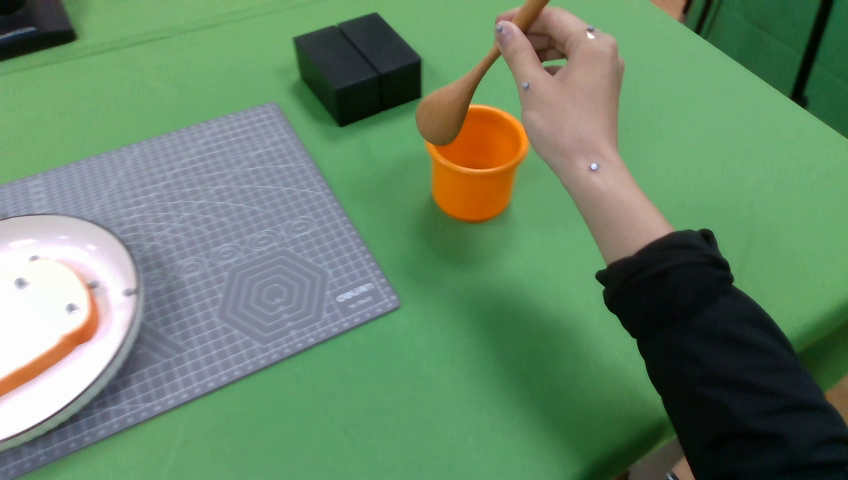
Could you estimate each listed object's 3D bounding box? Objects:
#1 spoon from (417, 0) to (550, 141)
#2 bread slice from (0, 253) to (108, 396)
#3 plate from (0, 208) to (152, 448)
[{"bbox_3d":[0.051,-0.138,0.437,0.041,0.194,0.021,46,39,2],"label":"spoon"},{"bbox_3d":[-0.319,0.063,0.469,0.131,0.019,0.104,-36,62,-25],"label":"bread slice"},{"bbox_3d":[-0.315,0.065,0.465,0.209,0.038,0.207,1,52,-1],"label":"plate"}]
